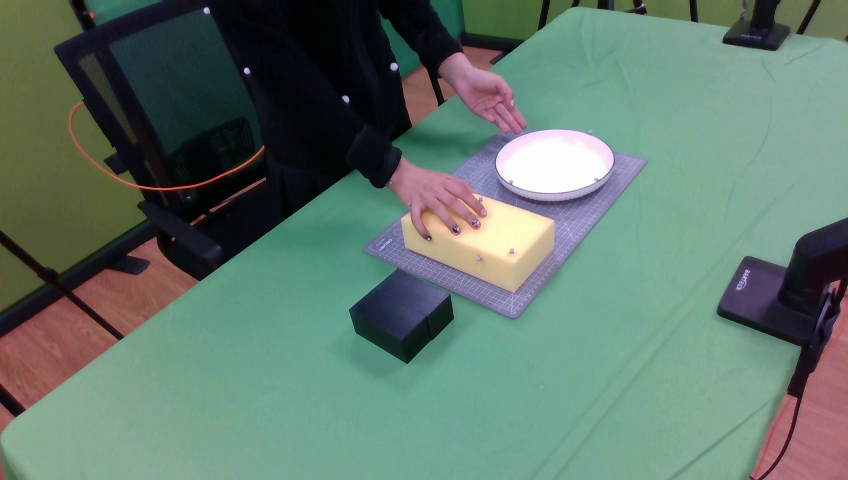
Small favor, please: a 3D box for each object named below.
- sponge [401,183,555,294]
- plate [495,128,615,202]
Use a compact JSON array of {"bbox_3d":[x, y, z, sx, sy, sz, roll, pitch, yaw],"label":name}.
[{"bbox_3d":[0.083,-0.008,0.938,0.205,0.061,0.118,22,47,30],"label":"sponge"},{"bbox_3d":[0.231,-0.130,1.077,0.209,0.038,0.208,-5,40,5],"label":"plate"}]
